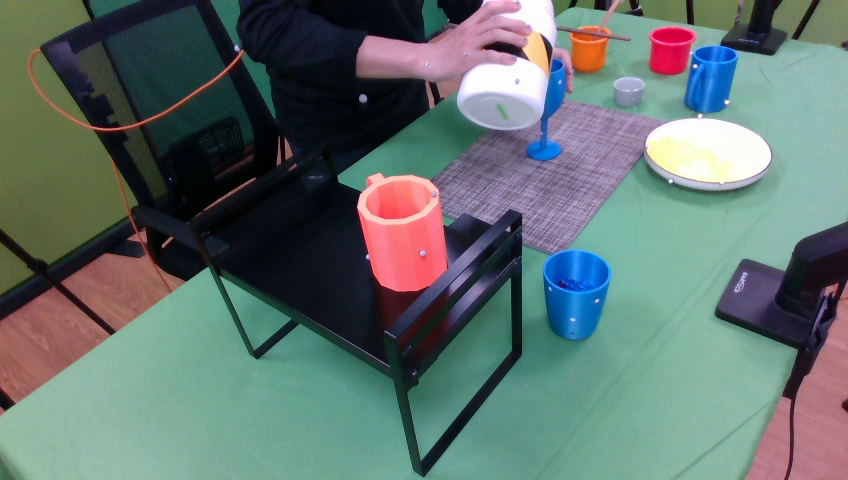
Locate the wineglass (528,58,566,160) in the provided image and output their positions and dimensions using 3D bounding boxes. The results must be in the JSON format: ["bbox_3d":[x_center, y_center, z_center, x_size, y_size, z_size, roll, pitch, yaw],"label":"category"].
[{"bbox_3d":[0.220,-0.236,1.096,0.074,0.173,0.073,-5,41,5],"label":"wineglass"}]

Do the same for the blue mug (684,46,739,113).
[{"bbox_3d":[0.556,-0.310,1.190,0.117,0.106,0.081,-32,46,-25],"label":"blue mug"}]

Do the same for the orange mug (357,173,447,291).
[{"bbox_3d":[-0.029,-0.018,0.669,0.084,0.101,0.125,-23,46,-16],"label":"orange mug"}]

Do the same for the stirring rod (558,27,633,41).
[{"bbox_3d":[0.381,-0.463,1.356,0.175,0.006,0.014,21,47,30],"label":"stirring rod"}]

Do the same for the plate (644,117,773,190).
[{"bbox_3d":[0.495,-0.148,1.063,0.209,0.038,0.208,-5,40,4],"label":"plate"}]

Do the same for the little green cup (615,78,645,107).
[{"bbox_3d":[0.426,-0.306,1.257,0.061,0.039,0.061,-4,40,4],"label":"little green cup"}]

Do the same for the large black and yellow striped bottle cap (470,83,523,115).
[{"bbox_3d":[0.157,-0.308,1.316,0.115,0.019,0.114,-7,39,6],"label":"large black and yellow striped bottle cap"}]

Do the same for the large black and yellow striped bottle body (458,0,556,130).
[{"bbox_3d":[0.130,-0.277,0.924,0.130,0.131,0.183,7,75,17],"label":"large black and yellow striped bottle body"}]

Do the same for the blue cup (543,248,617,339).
[{"bbox_3d":[0.199,0.077,0.797,0.092,0.100,0.092,-4,39,4],"label":"blue cup"}]

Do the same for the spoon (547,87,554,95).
[{"bbox_3d":[0.227,-0.285,1.269,0.041,0.022,0.194,3,37,44],"label":"spoon"}]

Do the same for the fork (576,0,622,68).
[{"bbox_3d":[0.409,-0.484,1.381,0.028,0.019,0.207,37,101,46],"label":"fork"}]
